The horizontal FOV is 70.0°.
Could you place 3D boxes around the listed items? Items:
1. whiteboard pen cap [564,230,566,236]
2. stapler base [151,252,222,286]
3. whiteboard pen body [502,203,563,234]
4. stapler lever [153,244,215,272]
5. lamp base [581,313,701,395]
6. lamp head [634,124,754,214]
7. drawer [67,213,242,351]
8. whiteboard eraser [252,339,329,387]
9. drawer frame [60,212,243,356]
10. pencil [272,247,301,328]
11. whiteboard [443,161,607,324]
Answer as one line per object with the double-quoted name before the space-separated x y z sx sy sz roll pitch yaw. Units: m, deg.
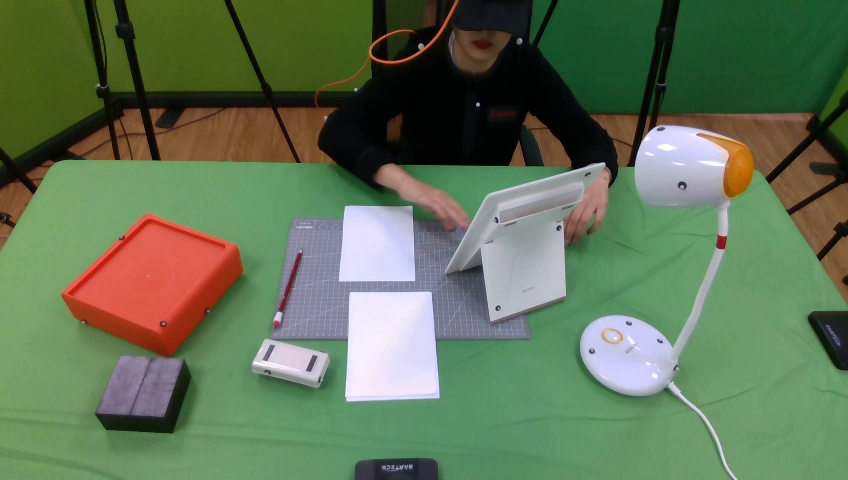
"whiteboard pen cap" 0.270 -0.019 1.229 0.033 0.018 0.018 33 53 20
"stapler base" -0.432 0.047 1.102 0.130 0.024 0.041 16 33 12
"whiteboard pen body" 0.224 -0.043 1.254 0.140 0.017 0.017 28 51 24
"stapler lever" -0.430 0.025 1.088 0.118 0.040 0.027 16 33 13
"lamp base" 0.361 0.144 0.973 0.178 0.181 0.160 34 53 23
"lamp head" 0.351 -0.089 0.775 0.112 0.113 0.122 -30 30 -28
"drawer" -0.461 0.068 1.056 0.194 0.073 0.211 19 48 13
"whiteboard eraser" -0.215 0.199 0.976 0.112 0.042 0.055 12 45 7
"drawer frame" -0.462 0.070 1.053 0.201 0.083 0.213 18 48 12
"pencil" -0.248 0.081 1.103 0.012 0.012 0.193 6 45 1
"whiteboard" 0.185 0.026 1.028 0.217 0.306 0.143 -15 68 -18
